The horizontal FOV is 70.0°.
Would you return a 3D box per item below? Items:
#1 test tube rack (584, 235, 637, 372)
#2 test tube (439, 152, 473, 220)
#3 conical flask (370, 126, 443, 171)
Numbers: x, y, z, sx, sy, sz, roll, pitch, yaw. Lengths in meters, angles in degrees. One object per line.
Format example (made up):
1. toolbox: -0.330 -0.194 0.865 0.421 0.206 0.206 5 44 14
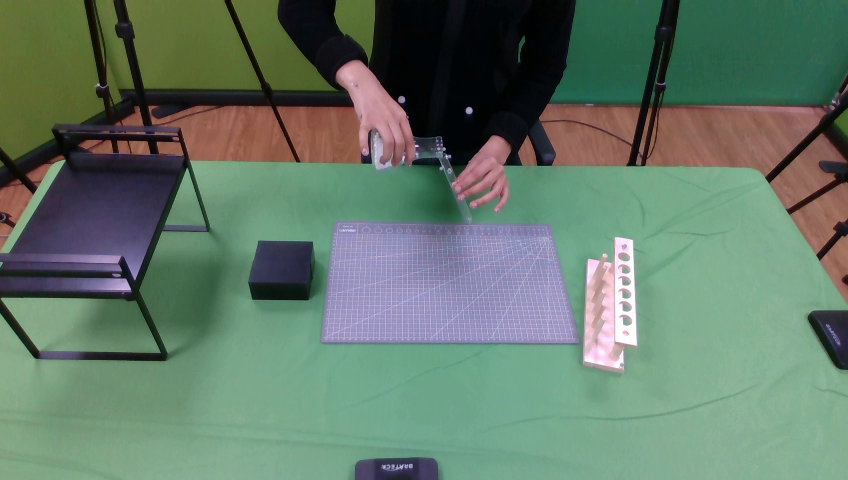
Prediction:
1. test tube rack: 0.329 0.103 1.073 0.067 0.085 0.241 11 47 7
2. test tube: 0.058 -0.094 1.090 0.017 0.151 0.017 -17 36 13
3. conical flask: -0.030 -0.159 1.035 0.122 0.076 0.075 -3 47 -1
